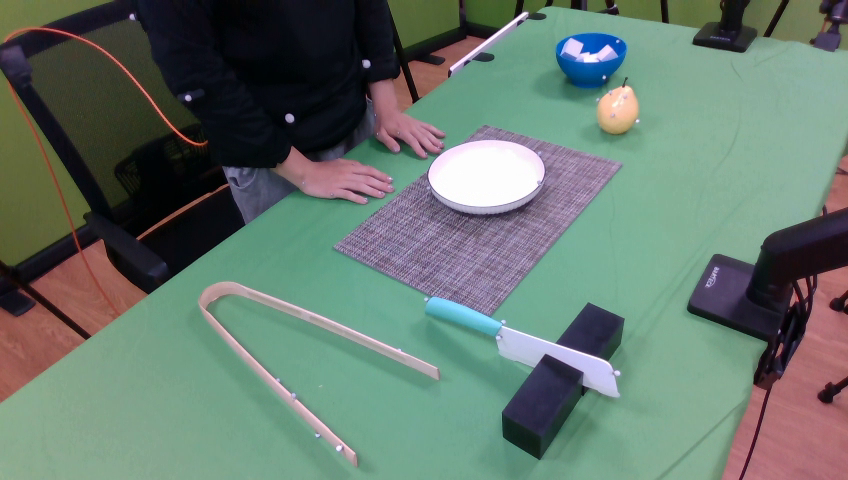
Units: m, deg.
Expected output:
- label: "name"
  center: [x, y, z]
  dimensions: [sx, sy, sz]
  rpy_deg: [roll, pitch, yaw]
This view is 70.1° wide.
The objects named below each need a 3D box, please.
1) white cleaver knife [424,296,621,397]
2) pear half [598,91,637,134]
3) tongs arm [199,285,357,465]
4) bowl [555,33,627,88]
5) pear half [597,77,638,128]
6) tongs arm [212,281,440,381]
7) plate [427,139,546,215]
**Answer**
- label: "white cleaver knife"
  center: [0.110, 0.132, 0.761]
  dimensions: [0.284, 0.066, 0.021]
  rpy_deg: [17, 41, 39]
- label: "pear half"
  center: [0.366, -0.235, 1.137]
  dimensions: [0.070, 0.088, 0.031]
  rpy_deg: [10, 43, 5]
- label: "tongs arm"
  center: [-0.199, 0.162, 0.797]
  dimensions: [0.381, 0.026, 0.051]
  rpy_deg: [28, 50, 35]
- label: "bowl"
  center: [0.360, -0.384, 1.318]
  dimensions: [0.151, 0.077, 0.150]
  rpy_deg: [-4, 41, 4]
- label: "pear half"
  center: [0.374, -0.266, 1.155]
  dimensions: [0.076, 0.110, 0.056]
  rpy_deg: [10, 44, 4]
- label: "tongs arm"
  center: [-0.148, 0.121, 0.845]
  dimensions: [0.385, 0.028, 0.028]
  rpy_deg: [17, 48, 25]
- label: "plate"
  center: [0.109, -0.107, 1.058]
  dimensions: [0.207, 0.039, 0.206]
  rpy_deg: [-4, 40, 4]
